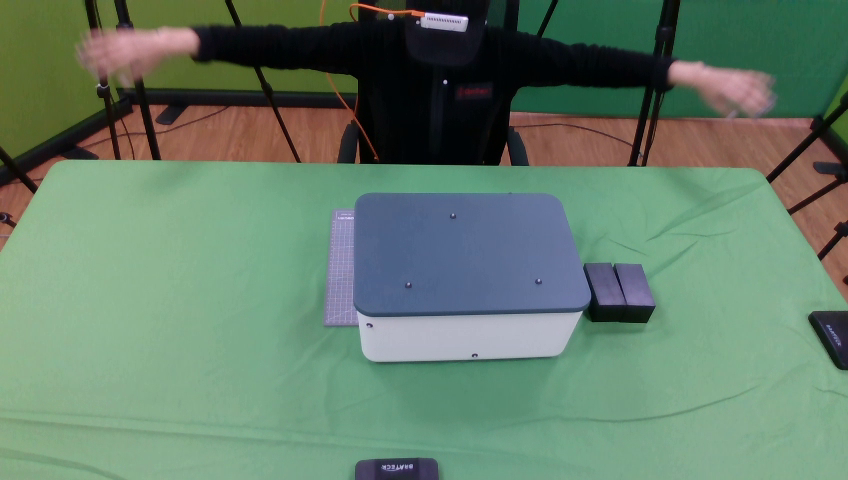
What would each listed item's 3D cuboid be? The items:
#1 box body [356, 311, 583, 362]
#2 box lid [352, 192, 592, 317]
[{"bbox_3d":[0.065,0.066,1.040,0.364,0.161,0.252,-1,46,-5],"label":"box body"},{"bbox_3d":[0.071,0.014,0.986,0.372,0.015,0.261,-1,47,-5],"label":"box lid"}]
